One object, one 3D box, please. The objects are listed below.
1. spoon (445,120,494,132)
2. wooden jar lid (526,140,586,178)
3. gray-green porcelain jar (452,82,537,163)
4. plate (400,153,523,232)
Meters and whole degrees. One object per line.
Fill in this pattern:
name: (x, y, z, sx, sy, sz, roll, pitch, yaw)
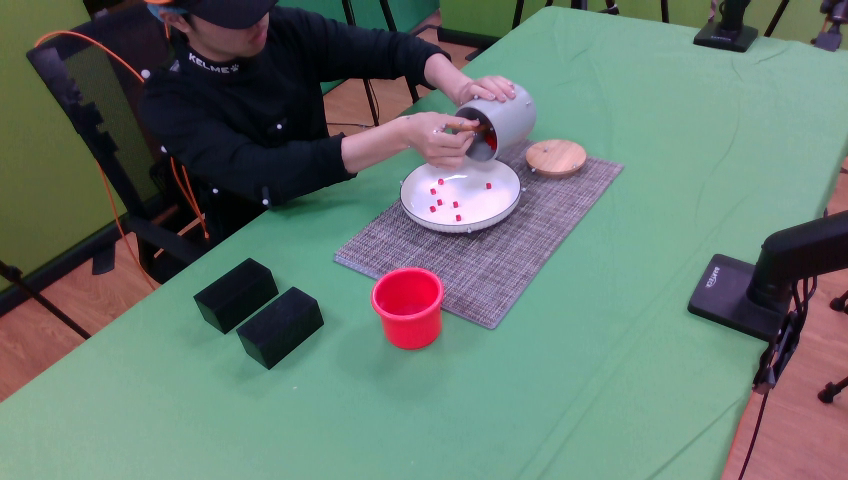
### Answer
spoon: (0.093, -0.191, 1.020, 0.041, 0.021, 0.195, 8, 15, 33)
wooden jar lid: (0.240, -0.147, 1.103, 0.108, 0.021, 0.108, -4, 42, 4)
gray-green porcelain jar: (0.127, -0.210, 1.056, 0.105, 0.106, 0.127, 26, 49, 33)
plate: (0.064, -0.078, 1.034, 0.207, 0.039, 0.206, -4, 41, 4)
